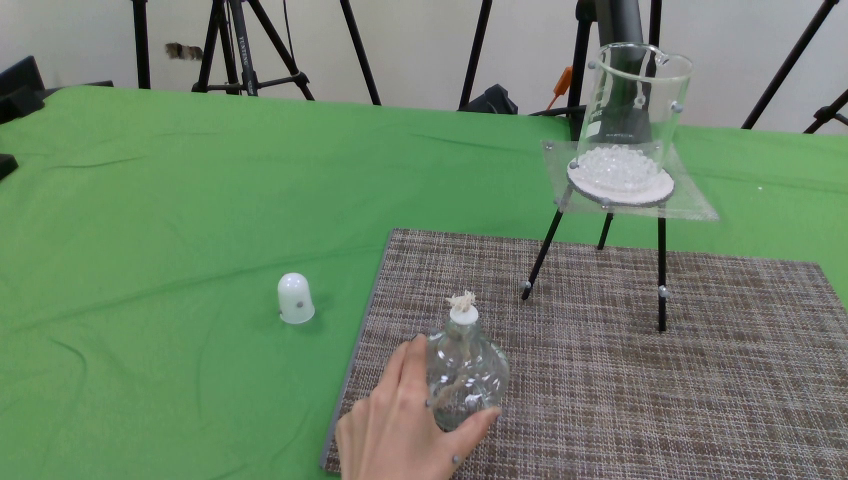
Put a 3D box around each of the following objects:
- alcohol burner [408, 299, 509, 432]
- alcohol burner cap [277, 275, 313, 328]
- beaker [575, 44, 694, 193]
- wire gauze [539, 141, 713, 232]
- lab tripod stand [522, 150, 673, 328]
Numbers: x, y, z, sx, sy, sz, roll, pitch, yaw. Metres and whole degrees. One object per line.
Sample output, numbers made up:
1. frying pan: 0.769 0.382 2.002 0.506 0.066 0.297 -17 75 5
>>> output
1. alcohol burner: 0.027 0.087 0.451 0.078 0.120 0.077 1 39 -1
2. alcohol burner cap: -0.121 0.054 0.559 0.034 0.048 0.033 1 38 0
3. beaker: 0.165 -0.097 0.488 0.073 0.101 0.084 29 45 30
4. wire gauze: 0.165 -0.052 0.511 0.125 0.011 0.120 5 39 -1
5. lab tripod stand: 0.169 -0.003 0.554 0.148 0.132 0.147 2 37 -1
